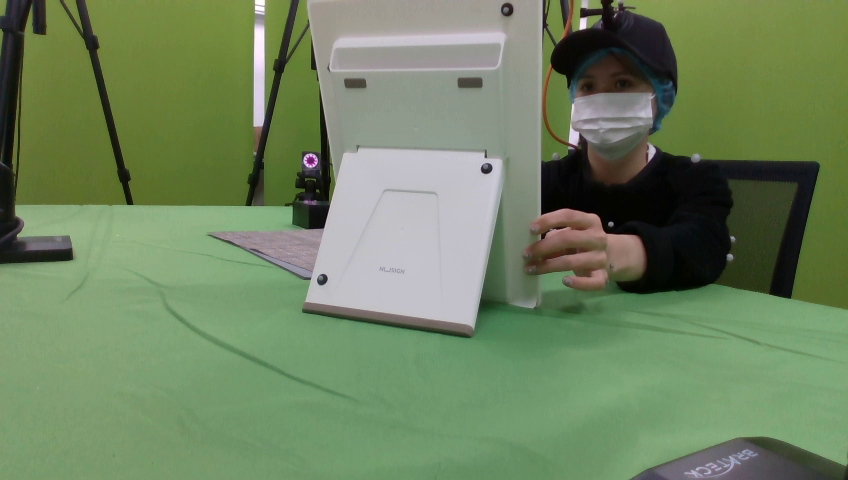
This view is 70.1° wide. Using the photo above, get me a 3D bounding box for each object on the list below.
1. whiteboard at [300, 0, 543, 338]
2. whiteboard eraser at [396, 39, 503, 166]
[{"bbox_3d":[-0.020,-0.050,0.523,0.216,0.305,0.144,6,27,22],"label":"whiteboard"},{"bbox_3d":[0.021,-0.127,0.569,0.055,0.112,0.042,36,33,0],"label":"whiteboard eraser"}]
